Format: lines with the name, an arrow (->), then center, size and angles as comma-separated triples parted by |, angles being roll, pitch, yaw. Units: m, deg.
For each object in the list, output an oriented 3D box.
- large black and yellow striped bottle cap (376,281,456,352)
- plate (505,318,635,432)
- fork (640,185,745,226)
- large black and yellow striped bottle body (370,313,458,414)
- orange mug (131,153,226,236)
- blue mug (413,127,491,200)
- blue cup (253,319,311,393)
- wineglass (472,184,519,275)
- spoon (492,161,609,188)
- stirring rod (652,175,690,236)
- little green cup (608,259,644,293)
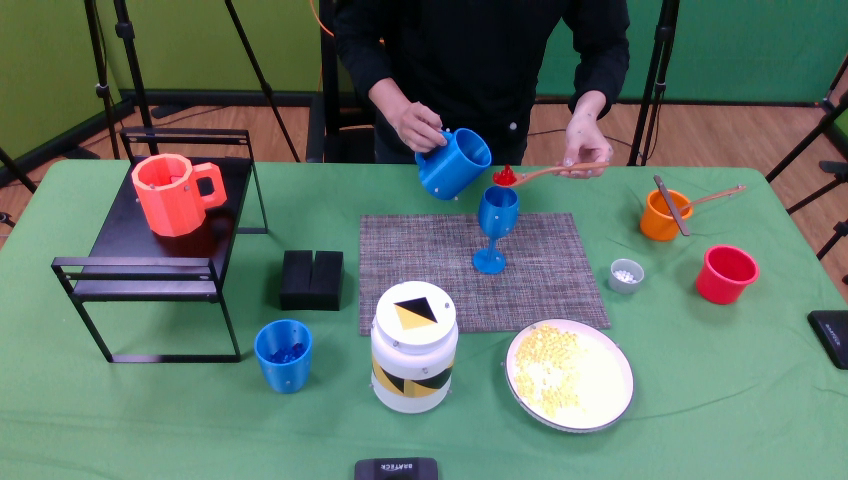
large black and yellow striped bottle cap -> -0.011, 0.107, 0.863 | 0.115, 0.019, 0.114 | 2, 47, -2
plate -> 0.235, 0.221, 0.991 | 0.209, 0.038, 0.208 | 2, 46, -2
fork -> 0.534, -0.069, 1.215 | 0.207, 0.019, 0.028 | -26, 27, 33
large black and yellow striped bottle body -> -0.017, 0.165, 0.924 | 0.131, 0.185, 0.130 | 2, 46, -2
orange mug -> -0.375, -0.075, 0.937 | 0.126, 0.101, 0.083 | -20, 50, -16
blue mug -> 0.038, -0.139, 1.040 | 0.117, 0.106, 0.082 | 33, 44, -18
blue cup -> -0.217, 0.187, 0.943 | 0.093, 0.101, 0.092 | 4, 45, -3
wineglass -> 0.129, -0.018, 1.113 | 0.074, 0.173, 0.073 | 2, 46, -2
spoon -> 0.202, -0.110, 0.989 | 0.193, 0.022, 0.041 | -9, 32, 31
stirring rod -> 0.492, -0.072, 1.211 | 0.014, 0.006, 0.175 | -1, 46, -6
little green cup -> 0.379, 0.070, 1.147 | 0.061, 0.039, 0.061 | 3, 45, -3
